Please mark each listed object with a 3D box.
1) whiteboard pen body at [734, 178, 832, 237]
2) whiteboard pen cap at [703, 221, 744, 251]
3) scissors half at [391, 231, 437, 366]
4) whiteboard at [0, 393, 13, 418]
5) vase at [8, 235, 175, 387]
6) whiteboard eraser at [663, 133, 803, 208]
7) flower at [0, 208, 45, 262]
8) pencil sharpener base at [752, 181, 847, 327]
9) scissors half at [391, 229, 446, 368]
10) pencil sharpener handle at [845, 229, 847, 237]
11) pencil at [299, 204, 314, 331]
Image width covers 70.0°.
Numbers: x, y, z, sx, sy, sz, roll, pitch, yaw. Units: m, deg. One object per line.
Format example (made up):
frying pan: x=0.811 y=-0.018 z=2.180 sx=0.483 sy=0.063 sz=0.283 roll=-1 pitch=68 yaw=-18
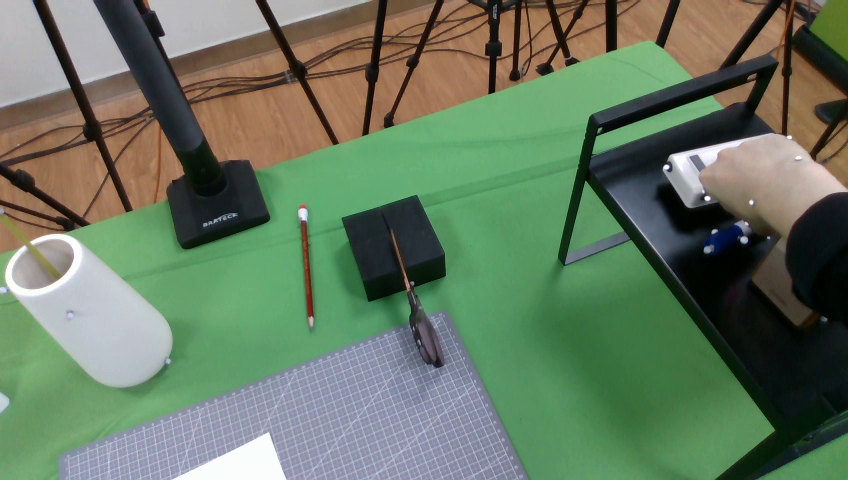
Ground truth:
whiteboard pen body: x=0.318 y=-0.026 z=0.553 sx=0.141 sy=0.017 sz=0.017 roll=-24 pitch=57 yaw=-15
whiteboard pen cap: x=0.266 y=-0.003 z=0.538 sx=0.033 sy=0.018 sz=0.018 roll=-23 pitch=56 yaw=-15
scissors half: x=-0.016 y=0.059 z=0.683 sx=0.013 sy=0.040 sz=0.173 roll=-23 pitch=57 yaw=9
whiteboard: x=-0.626 y=0.142 z=0.580 sx=0.142 sy=0.309 sz=0.216 roll=16 pitch=56 yaw=37
vase: x=-0.342 y=0.078 z=0.636 sx=0.098 sy=0.202 sz=0.097 roll=-2 pitch=54 yaw=4
whiteboard eraser: x=0.291 y=-0.064 z=0.576 sx=0.113 sy=0.042 sz=0.055 roll=-12 pitch=57 yaw=-6
flower: x=-0.358 y=0.022 z=0.575 sx=0.044 sy=0.365 sz=0.038 roll=-26 pitch=40 yaw=-10
pencil sharpener base: x=0.328 y=0.009 z=0.484 sx=0.077 sy=0.108 sz=0.060 roll=-25 pitch=56 yaw=-13
scissors half: x=-0.009 y=0.064 z=0.701 sx=0.013 sy=0.040 sz=0.174 roll=-25 pitch=75 yaw=14
pencil sharpener handle: x=0.371 y=-0.021 z=0.487 sx=0.031 sy=0.068 sz=0.035 roll=-25 pitch=69 yaw=-13
pencil: x=-0.150 y=0.030 z=0.774 sx=0.012 sy=0.012 sz=0.192 roll=-10 pitch=56 yaw=-3
